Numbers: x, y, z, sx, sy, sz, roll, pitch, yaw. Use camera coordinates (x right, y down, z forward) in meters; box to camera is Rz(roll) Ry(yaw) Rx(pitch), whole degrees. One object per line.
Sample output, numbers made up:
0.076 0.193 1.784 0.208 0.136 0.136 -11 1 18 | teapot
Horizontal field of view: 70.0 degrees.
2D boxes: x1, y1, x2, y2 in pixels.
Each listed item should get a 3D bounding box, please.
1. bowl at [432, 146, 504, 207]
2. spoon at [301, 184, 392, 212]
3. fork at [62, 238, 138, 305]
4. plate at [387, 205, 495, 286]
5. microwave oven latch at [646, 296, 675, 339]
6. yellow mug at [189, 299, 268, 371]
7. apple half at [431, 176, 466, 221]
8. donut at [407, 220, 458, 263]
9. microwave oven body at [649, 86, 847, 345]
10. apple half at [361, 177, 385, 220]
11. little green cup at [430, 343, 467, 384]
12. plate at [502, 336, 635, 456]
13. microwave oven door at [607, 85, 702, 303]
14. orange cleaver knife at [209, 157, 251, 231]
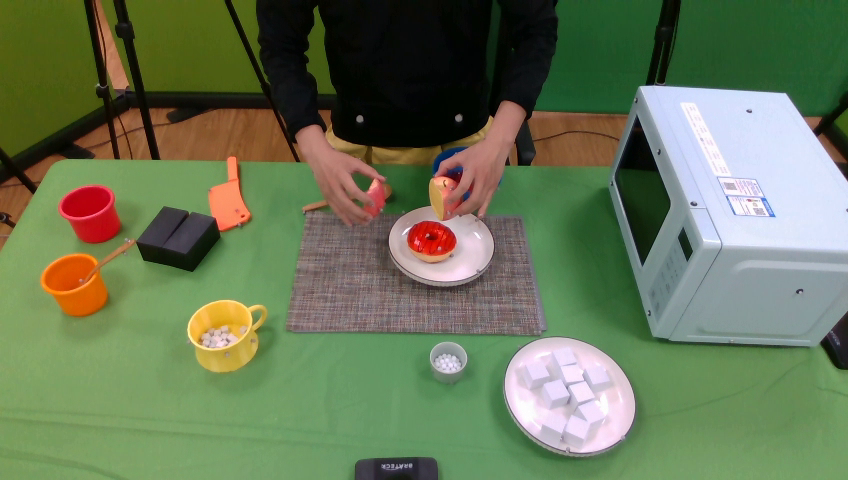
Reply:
0.091 -0.124 1.287 0.151 0.077 0.150 2 46 -2 | bowl
-0.162 -0.087 1.270 0.194 0.022 0.041 -11 63 -15 | spoon
-0.547 0.053 1.018 0.207 0.019 0.028 -36 41 23 | fork
0.033 0.014 1.171 0.209 0.038 0.208 2 46 -2 | plate
0.412 0.134 1.061 0.030 0.029 0.078 4 45 1 | microwave oven latch
-0.316 0.148 1.002 0.131 0.064 0.099 -33 56 -31 | yellow mug
0.049 -0.077 1.120 0.053 0.075 0.080 -13 39 -13 | apple half
0.016 0.002 1.166 0.099 0.048 0.098 3 44 -3 | donut
0.568 -0.053 1.118 0.326 0.261 0.439 2 45 -1 | microwave oven body
-0.087 -0.072 1.104 0.033 0.081 0.081 20 47 2 | apple half
0.039 0.203 0.994 0.061 0.039 0.061 2 46 -2 | little green cup
0.225 0.248 0.964 0.208 0.039 0.206 2 46 -2 | plate
0.423 -0.094 1.140 0.039 0.245 0.353 2 46 -1 | microwave oven door
-0.409 -0.099 1.266 0.077 0.012 0.210 -14 50 -10 | orange cleaver knife
